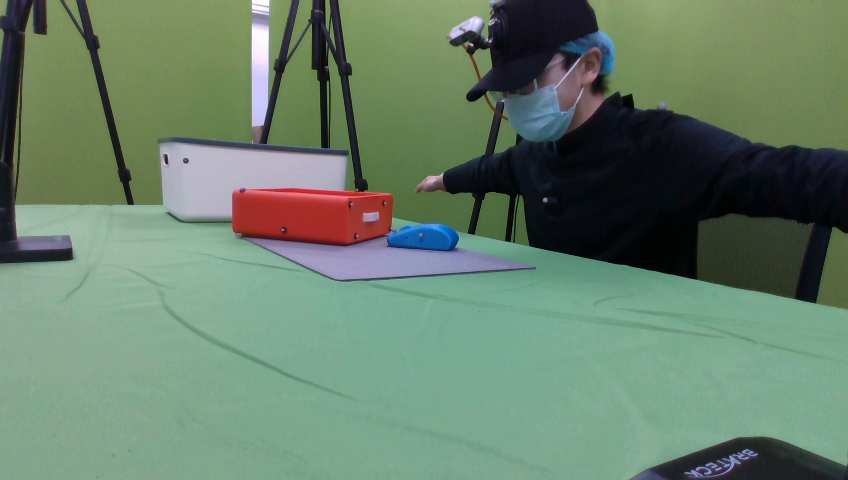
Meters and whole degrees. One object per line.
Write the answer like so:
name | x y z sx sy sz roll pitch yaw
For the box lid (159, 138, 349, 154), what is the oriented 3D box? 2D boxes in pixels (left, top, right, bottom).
box lid | -0.376 -0.206 1.344 0.373 0.015 0.262 -1 8 -30

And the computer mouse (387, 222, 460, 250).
computer mouse | 0.000 -0.008 0.978 0.117 0.041 0.063 0 8 14

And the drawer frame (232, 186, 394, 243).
drawer frame | -0.186 -0.049 1.060 0.213 0.082 0.202 4 8 17

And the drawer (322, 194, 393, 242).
drawer | -0.184 -0.048 1.060 0.211 0.073 0.195 4 8 18

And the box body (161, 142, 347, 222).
box body | -0.380 -0.132 1.352 0.366 0.160 0.253 -2 8 -30
